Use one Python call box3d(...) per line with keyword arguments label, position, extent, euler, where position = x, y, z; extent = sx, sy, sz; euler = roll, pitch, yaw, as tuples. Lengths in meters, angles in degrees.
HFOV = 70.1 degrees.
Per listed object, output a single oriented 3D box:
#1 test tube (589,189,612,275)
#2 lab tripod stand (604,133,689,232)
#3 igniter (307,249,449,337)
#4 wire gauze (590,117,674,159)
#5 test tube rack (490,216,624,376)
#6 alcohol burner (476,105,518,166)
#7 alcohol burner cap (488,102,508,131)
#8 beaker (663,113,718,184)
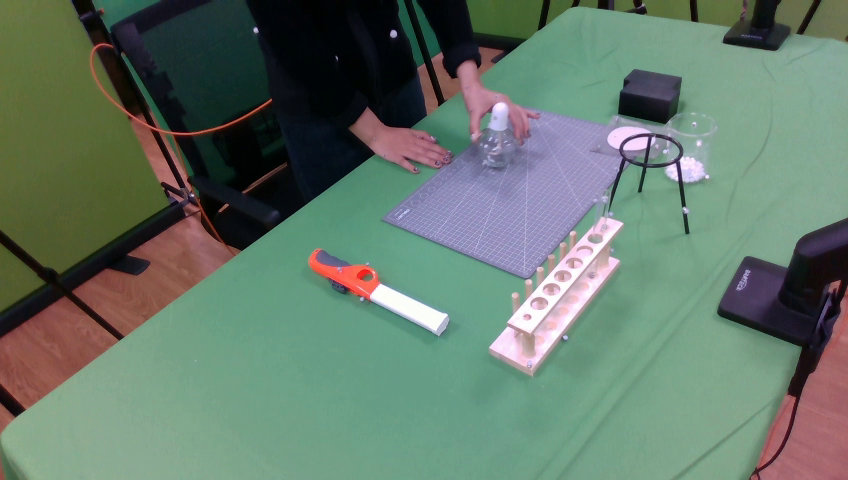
box3d(label="test tube", position=(0.238, -0.006, 0.819), extent=(0.017, 0.151, 0.017), euler=(-3, 43, 4))
box3d(label="lab tripod stand", position=(0.347, -0.086, 0.933), extent=(0.148, 0.132, 0.147), euler=(-4, 40, 4))
box3d(label="igniter", position=(-0.079, 0.073, 0.905), extent=(0.274, 0.025, 0.057), euler=(23, 61, 32))
box3d(label="wire gauze", position=(0.393, -0.192, 1.139), extent=(0.120, 0.011, 0.125), euler=(19, 47, 28))
box3d(label="test tube rack", position=(0.184, 0.064, 0.822), extent=(0.066, 0.085, 0.243), euler=(24, 50, 33))
box3d(label="alcohol burner", position=(0.133, -0.193, 1.088), extent=(0.078, 0.119, 0.077), euler=(0, 46, 0))
box3d(label="alcohol burner cap", position=(0.132, -0.220, 1.064), extent=(0.034, 0.048, 0.033), euler=(3, 38, -2))
box3d(label="beaker", position=(0.442, -0.151, 1.018), extent=(0.084, 0.101, 0.074), euler=(-1, 40, 11))
